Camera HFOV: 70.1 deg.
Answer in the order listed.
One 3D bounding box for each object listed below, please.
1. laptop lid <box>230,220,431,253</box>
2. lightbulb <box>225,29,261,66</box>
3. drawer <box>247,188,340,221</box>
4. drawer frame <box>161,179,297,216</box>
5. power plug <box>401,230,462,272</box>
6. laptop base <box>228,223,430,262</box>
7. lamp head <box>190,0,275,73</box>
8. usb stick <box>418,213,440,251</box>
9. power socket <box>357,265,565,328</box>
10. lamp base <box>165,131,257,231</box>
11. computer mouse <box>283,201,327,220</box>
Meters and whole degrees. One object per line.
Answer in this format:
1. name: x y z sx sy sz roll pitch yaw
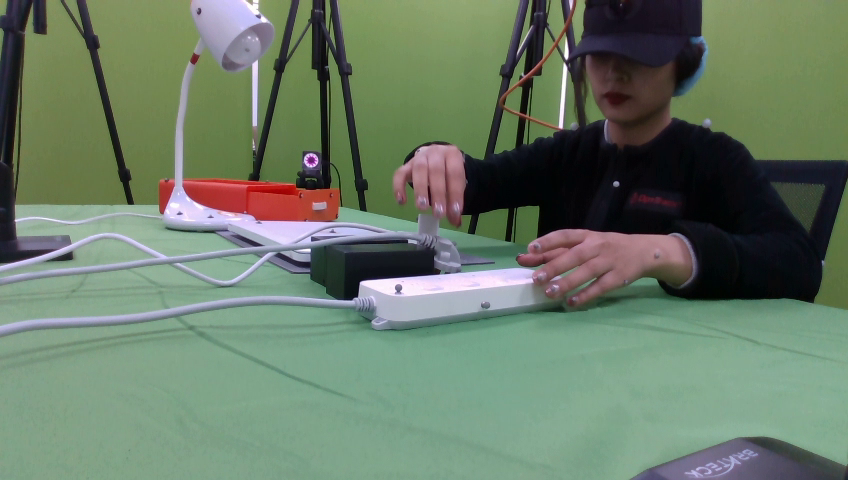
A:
1. laptop lid: -0.142 -0.009 0.942 0.243 0.013 0.355 1 7 -31
2. lightbulb: -0.317 -0.336 1.001 0.107 0.059 0.059 47 15 5
3. drawer: -0.314 -0.079 1.301 0.211 0.073 0.195 4 8 15
4. drawer frame: -0.421 -0.089 1.329 0.213 0.082 0.202 4 8 16
5. power plug: 0.005 0.017 0.647 0.073 0.052 0.035 15 13 -6
6. laptop base: -0.145 0.002 0.943 0.237 0.023 0.352 2 6 -32
7. lamp head: -0.331 -0.355 1.008 0.123 0.112 0.112 43 15 6
8. usb stick: 0.007 -0.002 0.721 0.027 0.059 0.021 -2 -5 -3
9. power socket: 0.041 0.048 0.573 0.228 0.032 0.072 -3 8 -34
10. lamp base: -0.407 -0.112 1.119 0.179 0.180 0.161 -1 7 7
11. computer mouse: -0.254 -0.062 1.293 0.063 0.041 0.117 0 2 10
